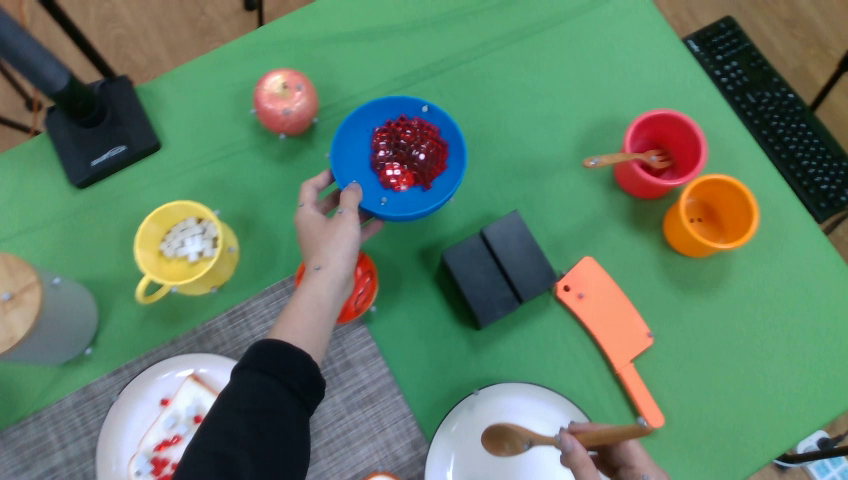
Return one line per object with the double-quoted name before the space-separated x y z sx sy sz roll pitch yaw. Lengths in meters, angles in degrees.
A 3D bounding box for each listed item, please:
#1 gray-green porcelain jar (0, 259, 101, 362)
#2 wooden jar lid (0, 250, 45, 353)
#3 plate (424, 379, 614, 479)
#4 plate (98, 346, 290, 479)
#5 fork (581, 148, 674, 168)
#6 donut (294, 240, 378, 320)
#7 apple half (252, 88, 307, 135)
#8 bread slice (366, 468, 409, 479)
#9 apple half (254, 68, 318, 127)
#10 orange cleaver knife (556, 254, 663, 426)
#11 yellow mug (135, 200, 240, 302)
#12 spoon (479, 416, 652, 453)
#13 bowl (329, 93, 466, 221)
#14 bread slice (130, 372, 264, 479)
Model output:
"gray-green porcelain jar" -0.434 0.081 0.672 0.106 0.127 0.105 0 75 0
"wooden jar lid" -0.434 0.064 0.612 0.108 0.021 0.108 0 74 1
"plate" 0.104 0.261 0.674 0.209 0.038 0.208 0 75 0
"plate" -0.252 0.224 0.678 0.208 0.039 0.206 0 76 0
"fork" 0.242 -0.096 0.710 0.208 0.018 0.028 -9 71 -46
"donut" -0.105 0.048 0.720 0.099 0.048 0.098 0 76 -1
"apple half" -0.185 -0.151 0.758 0.081 0.082 0.032 26 71 7
"bread slice" -0.054 0.309 0.634 0.134 0.018 0.106 -32 75 -28
"apple half" -0.168 -0.184 0.769 0.080 0.075 0.053 26 71 10
"orange cleaver knife" 0.234 0.115 0.723 0.077 0.012 0.210 -27 76 -13
"yellow mug" -0.289 0.021 0.719 0.099 0.064 0.130 36 79 9
"spoon" 0.118 0.173 0.538 0.042 0.193 0.021 53 52 -9
"bowl" -0.029 -0.081 0.691 0.151 0.077 0.150 1 69 -1
"bread slice" -0.260 0.230 0.679 0.104 0.019 0.131 33 75 8
